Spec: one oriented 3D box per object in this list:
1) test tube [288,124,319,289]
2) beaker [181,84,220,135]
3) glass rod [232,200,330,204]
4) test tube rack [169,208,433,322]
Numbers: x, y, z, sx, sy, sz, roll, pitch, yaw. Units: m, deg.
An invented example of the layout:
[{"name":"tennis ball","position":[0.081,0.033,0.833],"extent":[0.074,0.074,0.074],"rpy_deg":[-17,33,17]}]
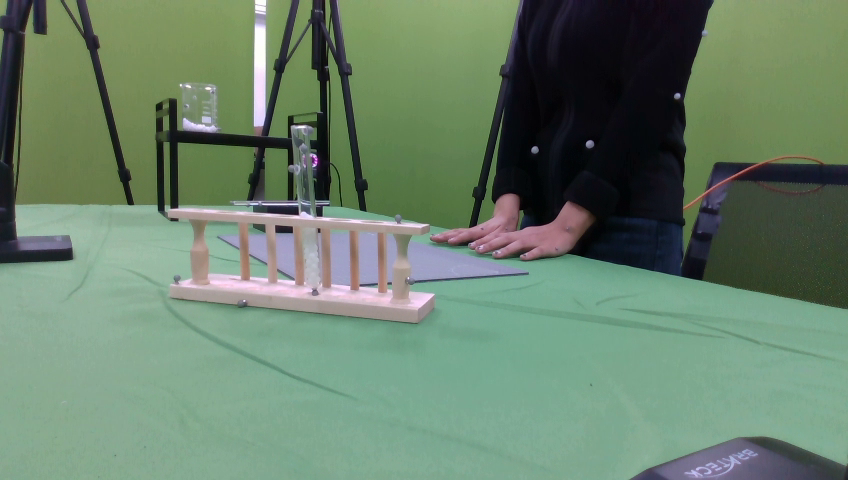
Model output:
[{"name":"test tube","position":[-0.108,-0.029,0.546],"extent":[0.017,0.150,0.017],"rpy_deg":[-3,12,1]},{"name":"beaker","position":[-0.475,-0.275,1.281],"extent":[0.073,0.100,0.084],"rpy_deg":[6,9,35]},{"name":"glass rod","position":[-0.266,-0.071,1.146],"extent":[0.201,0.008,0.008],"rpy_deg":[-4,9,-40]},{"name":"test tube rack","position":[-0.115,0.018,0.574],"extent":[0.242,0.085,0.067],"rpy_deg":[4,8,13]}]
